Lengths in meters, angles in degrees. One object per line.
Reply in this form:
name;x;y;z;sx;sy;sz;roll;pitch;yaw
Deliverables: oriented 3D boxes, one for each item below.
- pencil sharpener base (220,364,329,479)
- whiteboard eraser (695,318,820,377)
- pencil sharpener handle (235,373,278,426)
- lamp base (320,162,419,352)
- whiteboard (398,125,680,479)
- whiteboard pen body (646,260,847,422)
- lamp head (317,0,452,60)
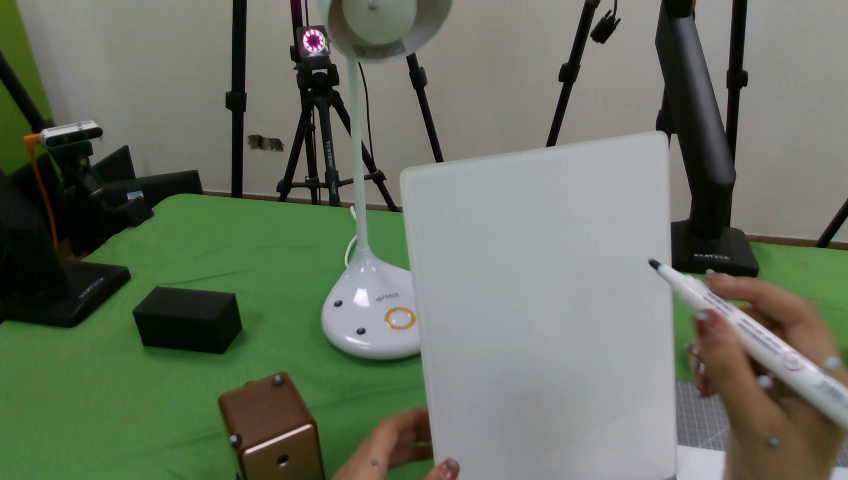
pencil sharpener base;-0.125;0.170;0.509;0.061;0.108;0.076;-18;34;-25
whiteboard eraser;0.352;0.117;0.646;0.112;0.042;0.055;6;29;14
pencil sharpener handle;-0.149;0.137;0.541;0.036;0.068;0.030;-26;37;-20
lamp base;-0.054;0.010;0.704;0.161;0.181;0.177;-21;34;-29
whiteboard;0.087;0.065;0.540;0.218;0.306;0.143;-10;13;-13
whiteboard pen body;0.168;0.050;0.301;0.017;0.017;0.139;-23;49;-32
lamp head;-0.047;-0.231;0.515;0.113;0.113;0.121;-15;58;-21
